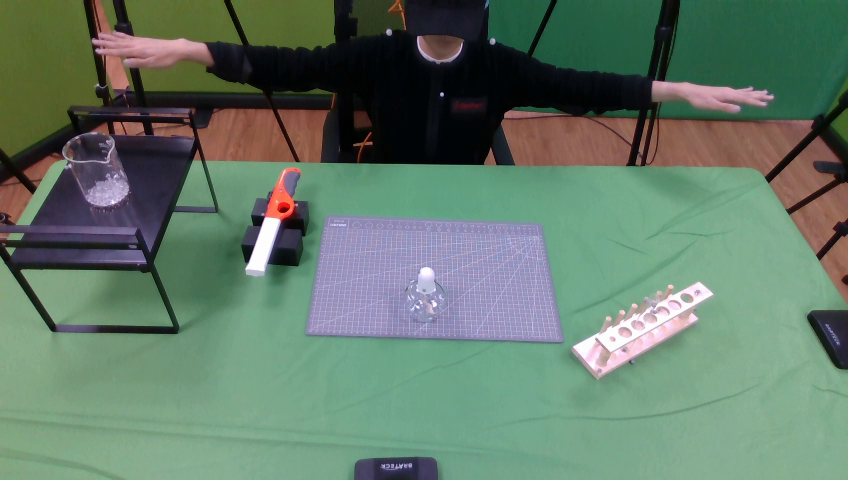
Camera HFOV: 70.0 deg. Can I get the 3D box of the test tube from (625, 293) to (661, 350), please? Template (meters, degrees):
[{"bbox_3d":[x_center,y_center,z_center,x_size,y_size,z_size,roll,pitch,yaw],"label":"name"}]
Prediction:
[{"bbox_3d":[0.350,0.134,0.973,0.017,0.151,0.017,1,49,-1],"label":"test tube"}]

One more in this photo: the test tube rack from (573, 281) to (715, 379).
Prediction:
[{"bbox_3d":[0.378,0.140,1.038,0.242,0.085,0.066,-22,51,-23],"label":"test tube rack"}]

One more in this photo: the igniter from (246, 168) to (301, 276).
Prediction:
[{"bbox_3d":[-0.282,-0.044,1.149,0.057,0.025,0.275,8,48,-1],"label":"igniter"}]

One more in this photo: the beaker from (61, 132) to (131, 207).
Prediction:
[{"bbox_3d":[-0.512,-0.107,0.959,0.083,0.101,0.074,29,51,22],"label":"beaker"}]

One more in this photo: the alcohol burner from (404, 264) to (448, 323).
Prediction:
[{"bbox_3d":[0.003,0.087,1.042,0.078,0.120,0.077,1,45,0],"label":"alcohol burner"}]

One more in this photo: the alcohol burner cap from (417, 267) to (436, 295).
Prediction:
[{"bbox_3d":[0.004,0.066,1.019,0.034,0.048,0.033,0,47,1],"label":"alcohol burner cap"}]
